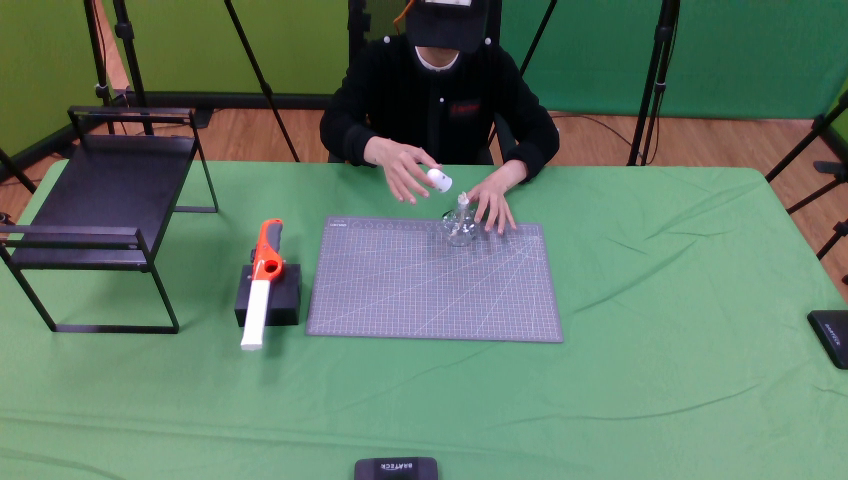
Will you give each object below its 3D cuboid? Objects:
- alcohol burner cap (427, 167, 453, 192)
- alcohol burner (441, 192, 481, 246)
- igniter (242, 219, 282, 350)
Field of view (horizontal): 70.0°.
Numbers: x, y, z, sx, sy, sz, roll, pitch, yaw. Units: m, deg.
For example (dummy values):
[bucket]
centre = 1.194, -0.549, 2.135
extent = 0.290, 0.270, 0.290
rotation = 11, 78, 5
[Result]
[alcohol burner cap]
centre = 0.026, -0.109, 1.072
extent = 0.034, 0.048, 0.033
rotation = -25, 48, 31
[alcohol burner]
centre = 0.074, -0.046, 1.176
extent = 0.078, 0.119, 0.077
rotation = 2, 44, -2
[igniter]
centre = -0.277, 0.065, 1.044
extent = 0.057, 0.025, 0.274
rotation = 1, 48, -6
